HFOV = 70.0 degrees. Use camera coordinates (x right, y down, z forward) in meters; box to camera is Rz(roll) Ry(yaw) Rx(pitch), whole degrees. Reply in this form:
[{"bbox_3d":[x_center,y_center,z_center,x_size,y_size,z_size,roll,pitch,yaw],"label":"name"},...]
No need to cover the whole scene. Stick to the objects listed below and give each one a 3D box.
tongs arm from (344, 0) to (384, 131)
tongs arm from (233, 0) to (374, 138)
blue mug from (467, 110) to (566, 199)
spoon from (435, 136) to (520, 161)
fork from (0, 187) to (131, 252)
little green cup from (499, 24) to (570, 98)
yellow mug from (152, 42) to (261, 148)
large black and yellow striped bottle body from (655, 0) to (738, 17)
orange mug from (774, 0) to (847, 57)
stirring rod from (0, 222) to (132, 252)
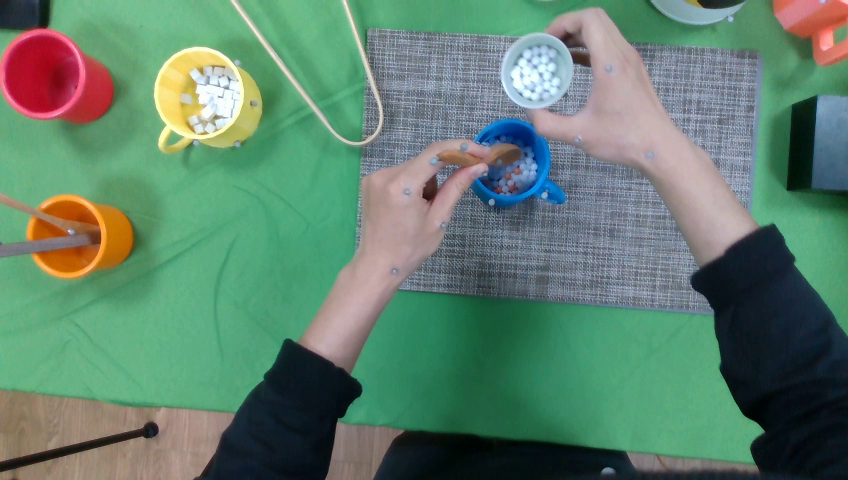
[{"bbox_3d":[-0.113,-0.311,0.675,0.028,0.027,0.388,-21,98,-5],"label":"tongs arm"},{"bbox_3d":[-0.187,-0.269,0.676,0.051,0.026,0.386,-35,97,0],"label":"tongs arm"},{"bbox_3d":[0.101,-0.080,0.653,0.116,0.106,0.082,32,92,1],"label":"blue mug"},{"bbox_3d":[0.049,-0.078,0.528,0.041,0.194,0.022,-12,97,22],"label":"spoon"},{"bbox_3d":[-0.422,-0.037,0.657,0.209,0.018,0.028,33,87,-42],"label":"fork"},{"bbox_3d":[0.099,-0.154,0.528,0.061,0.038,0.062,4,103,20],"label":"little green cup"},{"bbox_3d":[-0.254,-0.154,0.688,0.100,0.064,0.131,43,94,0],"label":"yellow mug"},{"bbox_3d":[0.304,-0.316,0.602,0.131,0.184,0.130,0,91,3],"label":"large black and yellow striped bottle body"},{"bbox_3d":[0.439,-0.264,0.641,0.083,0.101,0.126,-6,87,3],"label":"orange mug"},{"bbox_3d":[-0.415,-0.001,0.664,0.177,0.006,0.014,-12,87,-39],"label":"stirring rod"}]
